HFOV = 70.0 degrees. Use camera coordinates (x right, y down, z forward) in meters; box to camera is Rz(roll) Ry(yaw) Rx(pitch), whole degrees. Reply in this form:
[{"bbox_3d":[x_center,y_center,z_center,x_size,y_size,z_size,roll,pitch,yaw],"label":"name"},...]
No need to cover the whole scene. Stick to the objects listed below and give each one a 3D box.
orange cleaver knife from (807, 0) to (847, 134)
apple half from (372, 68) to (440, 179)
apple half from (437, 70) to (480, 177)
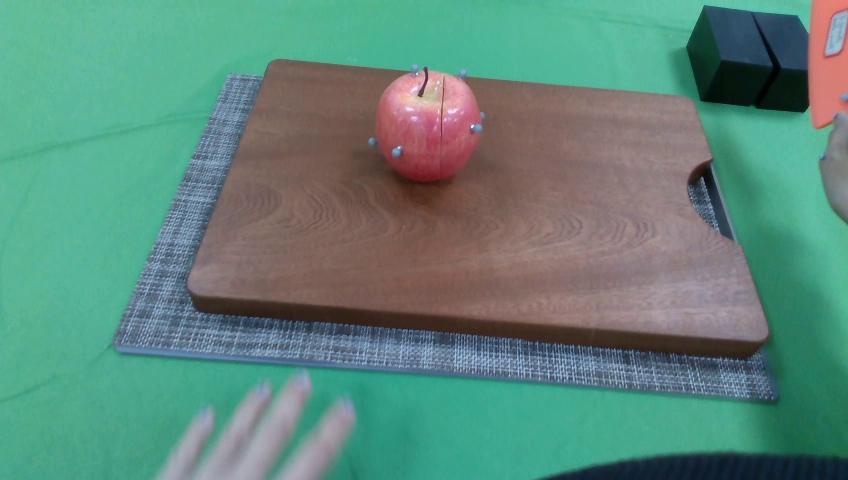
[{"bbox_3d":[0.334,-0.127,0.484,0.012,0.077,0.210,7,75,-3],"label":"orange cleaver knife"},{"bbox_3d":[-0.013,-0.089,0.468,0.053,0.075,0.080,2,56,2],"label":"apple half"},{"bbox_3d":[0.026,-0.088,0.469,0.033,0.082,0.080,2,51,2],"label":"apple half"}]
